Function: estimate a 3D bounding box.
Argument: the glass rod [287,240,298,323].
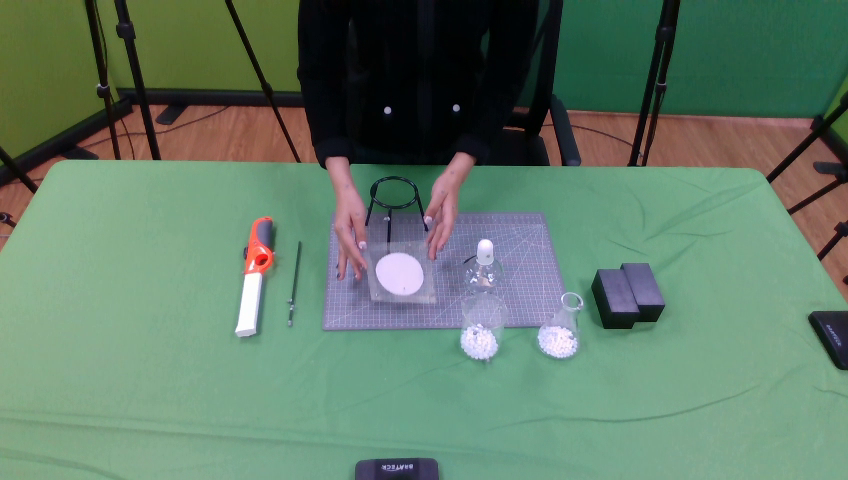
[{"bbox_3d":[-0.242,0.071,1.119,0.008,0.008,0.198,-1,47,-5],"label":"glass rod"}]

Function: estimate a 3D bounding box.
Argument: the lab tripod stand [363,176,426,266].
[{"bbox_3d":[-0.058,-0.047,1.159,0.148,0.132,0.147,3,44,-2],"label":"lab tripod stand"}]

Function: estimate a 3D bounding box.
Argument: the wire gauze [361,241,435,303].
[{"bbox_3d":[-0.045,0.055,1.068,0.125,0.011,0.120,2,59,-19],"label":"wire gauze"}]

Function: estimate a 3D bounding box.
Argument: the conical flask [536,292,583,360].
[{"bbox_3d":[0.234,0.139,1.015,0.075,0.122,0.075,2,46,-2],"label":"conical flask"}]

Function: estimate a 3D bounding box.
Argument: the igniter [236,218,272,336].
[{"bbox_3d":[-0.312,0.058,1.115,0.057,0.025,0.274,-9,46,2],"label":"igniter"}]

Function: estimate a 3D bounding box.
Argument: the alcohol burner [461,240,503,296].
[{"bbox_3d":[0.106,0.045,1.098,0.078,0.120,0.077,2,44,-1],"label":"alcohol burner"}]

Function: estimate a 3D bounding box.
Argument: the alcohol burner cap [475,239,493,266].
[{"bbox_3d":[0.107,0.020,1.071,0.034,0.048,0.033,-2,45,2],"label":"alcohol burner cap"}]

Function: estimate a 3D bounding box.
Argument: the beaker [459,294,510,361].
[{"bbox_3d":[0.094,0.147,1.012,0.083,0.101,0.074,26,49,21],"label":"beaker"}]
